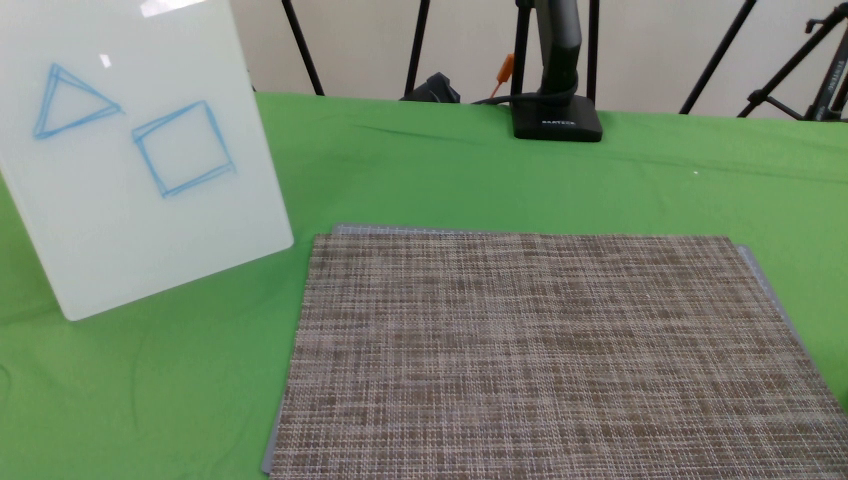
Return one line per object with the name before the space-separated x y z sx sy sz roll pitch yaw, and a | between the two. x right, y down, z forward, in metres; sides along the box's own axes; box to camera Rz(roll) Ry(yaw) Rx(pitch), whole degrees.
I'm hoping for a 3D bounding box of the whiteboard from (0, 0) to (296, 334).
whiteboard | -0.281 -0.107 0.584 0.218 0.307 0.142 -21 24 -25
